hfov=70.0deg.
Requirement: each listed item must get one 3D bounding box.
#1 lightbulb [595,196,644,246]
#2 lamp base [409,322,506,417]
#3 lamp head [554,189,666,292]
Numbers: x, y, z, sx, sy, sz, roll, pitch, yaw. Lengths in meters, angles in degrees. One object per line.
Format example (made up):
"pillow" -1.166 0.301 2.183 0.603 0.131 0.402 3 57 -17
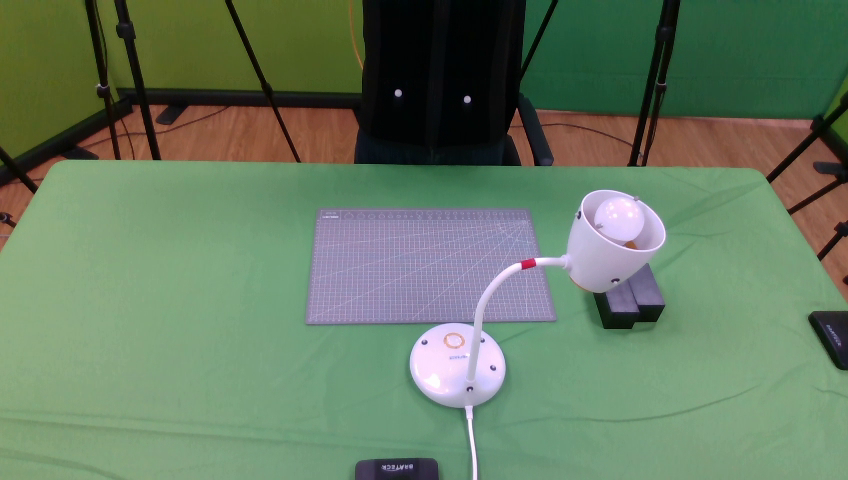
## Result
"lightbulb" 0.243 -0.008 0.784 0.059 0.108 0.059 8 40 -7
"lamp base" 0.063 0.160 0.941 0.161 0.181 0.178 -10 50 -13
"lamp head" 0.234 0.012 0.796 0.113 0.123 0.111 13 43 -12
